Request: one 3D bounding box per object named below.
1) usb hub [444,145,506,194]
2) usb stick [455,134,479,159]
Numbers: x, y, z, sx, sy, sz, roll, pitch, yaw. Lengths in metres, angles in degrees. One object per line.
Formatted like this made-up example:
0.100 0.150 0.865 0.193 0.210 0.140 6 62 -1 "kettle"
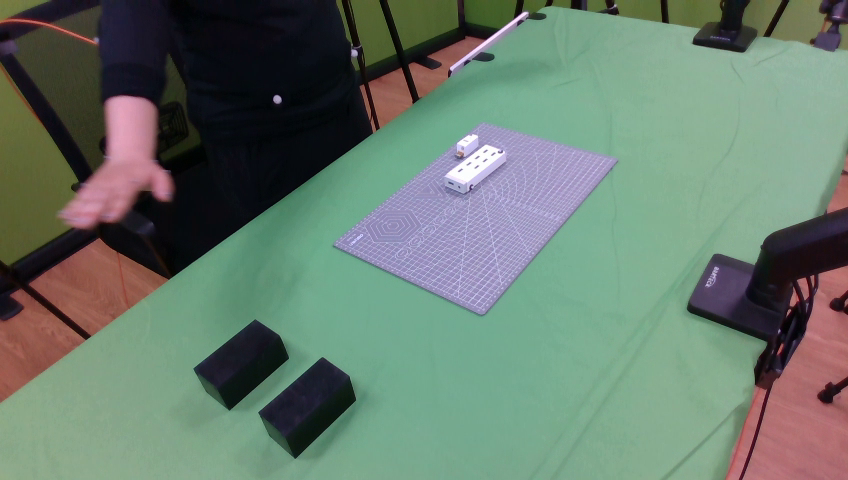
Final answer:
0.095 -0.129 1.101 0.049 0.025 0.125 27 51 33 "usb hub"
0.080 -0.177 1.159 0.021 0.027 0.059 24 52 33 "usb stick"
